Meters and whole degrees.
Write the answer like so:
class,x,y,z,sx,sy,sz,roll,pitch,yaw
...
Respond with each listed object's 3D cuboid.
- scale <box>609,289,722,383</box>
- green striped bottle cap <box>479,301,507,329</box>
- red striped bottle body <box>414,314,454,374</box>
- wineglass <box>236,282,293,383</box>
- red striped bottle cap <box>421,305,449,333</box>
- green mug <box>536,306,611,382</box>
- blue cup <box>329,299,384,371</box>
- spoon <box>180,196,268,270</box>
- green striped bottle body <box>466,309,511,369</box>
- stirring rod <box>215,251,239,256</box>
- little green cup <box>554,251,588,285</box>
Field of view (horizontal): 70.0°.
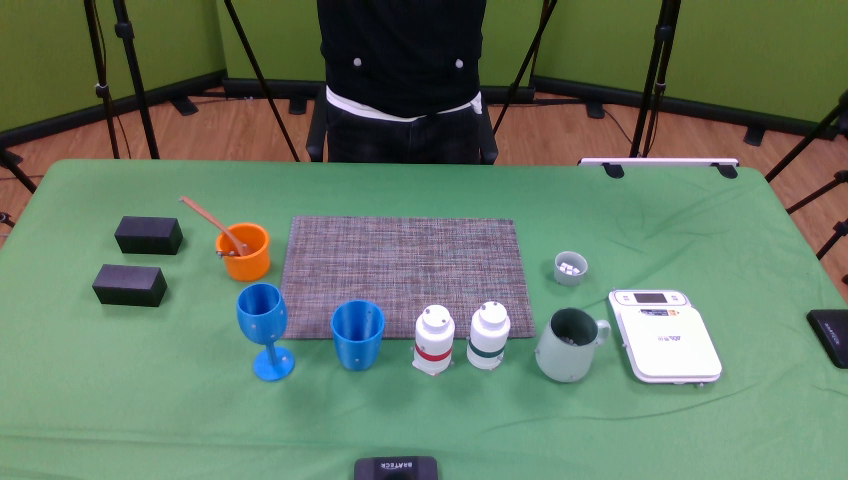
class,x,y,z,sx,sy,sz,roll,pitch,yaw
scale,0.419,0.159,1.066,0.149,0.032,0.199,1,46,-4
green striped bottle cap,0.109,0.118,0.950,0.044,0.020,0.044,2,46,-2
red striped bottle body,0.016,0.158,0.977,0.063,0.120,0.062,1,46,-1
wineglass,-0.243,0.143,0.934,0.074,0.173,0.073,2,46,-2
red striped bottle cap,0.018,0.122,0.938,0.044,0.018,0.044,3,44,-2
green mug,0.250,0.167,0.996,0.125,0.105,0.092,-15,49,-18
blue cup,-0.109,0.160,0.979,0.093,0.101,0.092,4,45,-3
spoon,-0.360,-0.014,1.094,0.021,0.194,0.041,-27,26,31
green striped bottle body,0.105,0.154,0.987,0.063,0.120,0.063,2,46,-2
stirring rod,-0.339,0.024,1.059,0.014,0.176,0.006,16,86,-6
little green cup,0.276,0.055,1.151,0.061,0.039,0.061,1,47,-1
